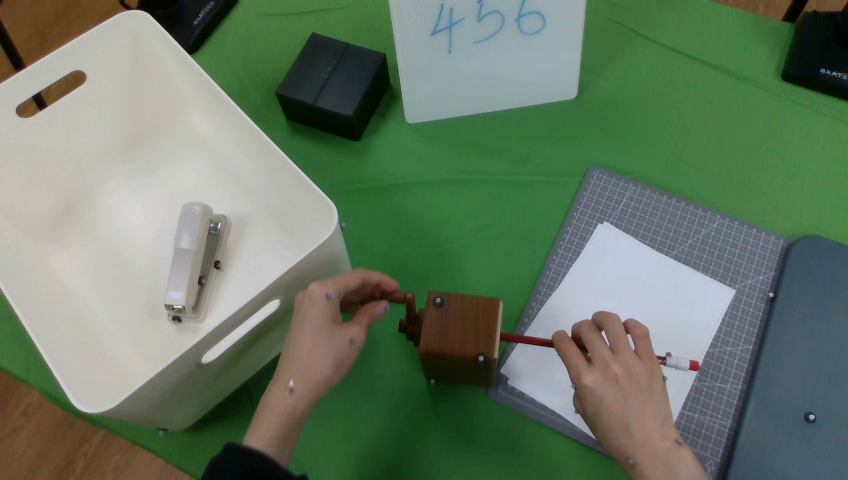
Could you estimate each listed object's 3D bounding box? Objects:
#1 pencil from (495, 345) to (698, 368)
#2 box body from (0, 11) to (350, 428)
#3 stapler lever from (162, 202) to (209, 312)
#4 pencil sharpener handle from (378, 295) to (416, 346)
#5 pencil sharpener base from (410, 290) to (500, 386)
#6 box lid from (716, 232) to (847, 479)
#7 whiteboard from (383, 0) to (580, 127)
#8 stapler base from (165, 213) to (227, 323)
[{"bbox_3d":[0.144,0.101,0.530,0.194,0.012,0.012,4,64,-2],"label":"pencil"},{"bbox_3d":[-0.276,-0.022,0.616,0.254,0.161,0.361,-41,69,-15],"label":"box body"},{"bbox_3d":[-0.252,0.016,0.639,0.027,0.040,0.117,3,67,7],"label":"stapler lever"},{"bbox_3d":[-0.023,0.069,0.544,0.030,0.068,0.035,6,56,6],"label":"pencil sharpener handle"},{"bbox_3d":[0.029,0.095,0.578,0.076,0.108,0.061,6,66,6],"label":"pencil sharpener base"},{"bbox_3d":[0.436,0.181,0.571,0.262,0.015,0.370,23,68,12],"label":"box lid"},{"bbox_3d":[0.057,-0.312,0.693,0.217,0.308,0.142,-8,45,-1],"label":"whiteboard"},{"bbox_3d":[-0.251,0.025,0.663,0.041,0.024,0.129,3,67,6],"label":"stapler base"}]
